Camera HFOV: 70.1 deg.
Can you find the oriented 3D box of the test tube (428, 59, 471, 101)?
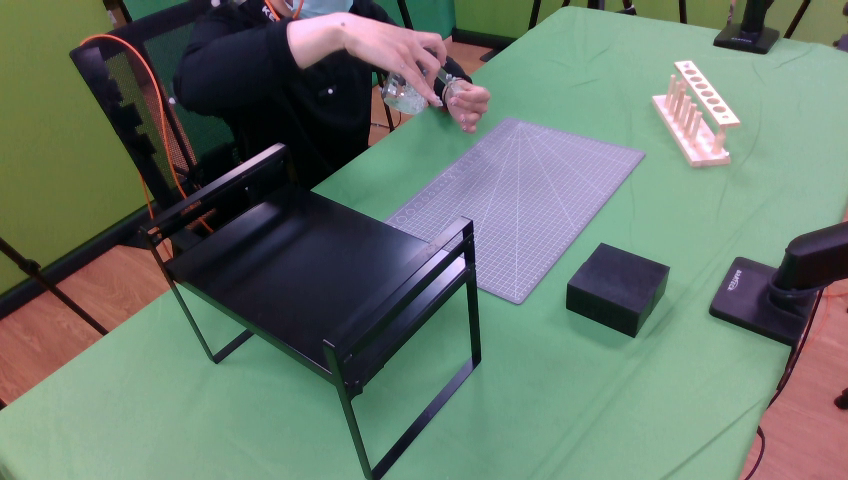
[{"bbox_3d":[0.047,-0.273,1.041,0.017,0.152,0.017,-6,77,27],"label":"test tube"}]

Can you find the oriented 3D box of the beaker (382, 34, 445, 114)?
[{"bbox_3d":[-0.017,-0.253,0.938,0.073,0.084,0.100,18,86,29],"label":"beaker"}]

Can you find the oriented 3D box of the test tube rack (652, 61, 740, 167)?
[{"bbox_3d":[0.499,-0.242,1.130,0.067,0.085,0.241,-5,41,3],"label":"test tube rack"}]
